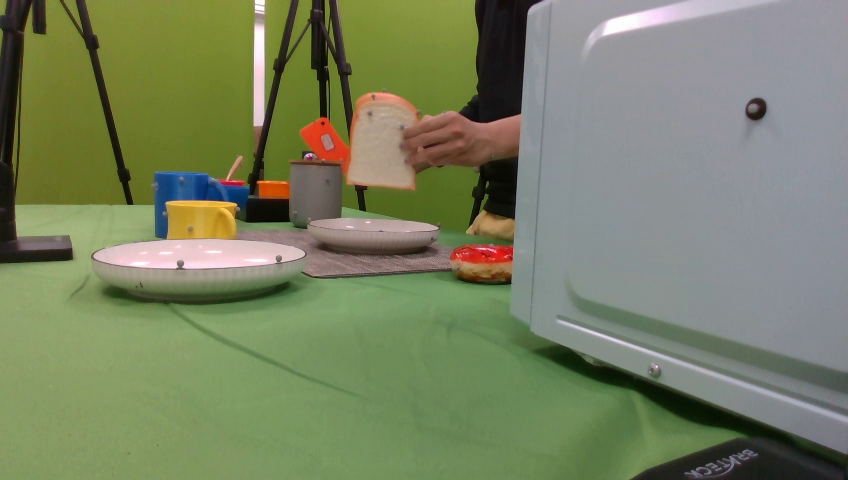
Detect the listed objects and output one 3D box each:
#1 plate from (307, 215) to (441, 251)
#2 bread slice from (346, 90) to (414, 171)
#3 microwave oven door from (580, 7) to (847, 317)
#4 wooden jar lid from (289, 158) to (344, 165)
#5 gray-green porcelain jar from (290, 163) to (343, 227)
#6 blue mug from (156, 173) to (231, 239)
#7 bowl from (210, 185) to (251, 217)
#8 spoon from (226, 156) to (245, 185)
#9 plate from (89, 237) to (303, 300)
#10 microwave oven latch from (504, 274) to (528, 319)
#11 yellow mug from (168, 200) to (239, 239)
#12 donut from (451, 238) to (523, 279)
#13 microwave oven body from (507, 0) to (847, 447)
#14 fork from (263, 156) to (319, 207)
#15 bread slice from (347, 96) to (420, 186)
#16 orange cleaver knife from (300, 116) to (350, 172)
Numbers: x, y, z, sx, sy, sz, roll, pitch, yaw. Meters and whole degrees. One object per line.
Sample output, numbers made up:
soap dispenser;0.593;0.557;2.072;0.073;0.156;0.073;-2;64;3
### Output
plate;-0.078;-0.011;0.954;0.209;0.038;0.209;2;7;0
bread slice;-0.064;-0.168;0.951;0.105;0.131;0.019;5;18;-11
microwave oven door;0.294;-0.067;0.570;0.358;0.243;0.039;-3;9;-31
wooden jar lid;-0.215;-0.153;1.212;0.108;0.020;0.108;2;5;0
gray-green porcelain jar;-0.217;-0.091;1.221;0.106;0.126;0.106;2;7;0
blue mug;-0.381;-0.057;1.004;0.117;0.106;0.082;1;8;-12
bowl;-0.408;-0.064;1.155;0.151;0.077;0.151;2;8;0
spoon;-0.477;-0.145;1.492;0.041;0.022;0.193;-1;51;13
plate;-0.233;0.029;0.637;0.208;0.039;0.207;2;7;0
microwave oven latch;0.100;0.041;0.470;0.079;0.029;0.030;-1;7;-27
yellow mug;-0.319;-0.023;0.904;0.130;0.064;0.100;9;11;36
donut;0.083;0.022;0.745;0.099;0.048;0.099;1;5;0
microwave oven body;0.331;-0.042;0.425;0.444;0.260;0.324;-2;8;-31
fork;-0.331;-0.144;1.505;0.207;0.018;0.028;-42;-21;22
bread slice;-0.061;-0.147;0.907;0.107;0.134;0.018;0;25;-7
orange cleaver knife;-0.179;-0.187;1.340;0.212;0.077;0.012;43;-7;-19
